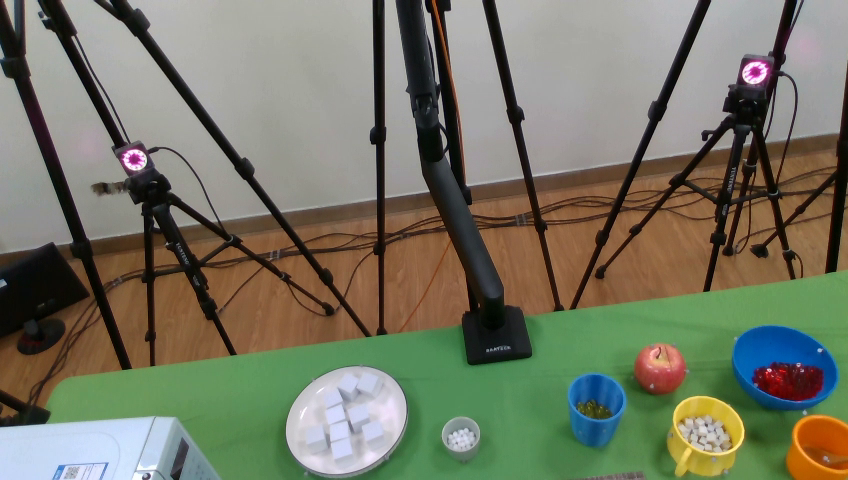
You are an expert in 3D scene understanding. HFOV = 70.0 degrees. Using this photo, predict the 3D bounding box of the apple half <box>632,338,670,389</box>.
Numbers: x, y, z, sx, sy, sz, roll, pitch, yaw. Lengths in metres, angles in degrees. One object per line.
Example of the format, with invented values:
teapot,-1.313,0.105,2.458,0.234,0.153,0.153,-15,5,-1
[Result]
apple half,0.375,0.208,1.012,0.053,0.075,0.080,-6,46,9

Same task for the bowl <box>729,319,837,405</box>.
bowl,0.564,0.209,0.971,0.151,0.077,0.150,-5,43,6

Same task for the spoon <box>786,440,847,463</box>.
spoon,0.588,0.293,0.822,0.041,0.193,0.021,-38,93,-27

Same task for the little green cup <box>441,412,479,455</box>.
little green cup,0.060,0.315,0.979,0.061,0.039,0.061,-6,42,5

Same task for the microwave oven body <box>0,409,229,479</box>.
microwave oven body,-0.468,0.470,0.735,0.326,0.263,0.437,-5,43,4

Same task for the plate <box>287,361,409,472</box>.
plate,-0.126,0.300,1.030,0.207,0.039,0.205,-5,42,5

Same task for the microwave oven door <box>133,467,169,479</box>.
microwave oven door,-0.324,0.480,0.689,0.039,0.246,0.352,-6,42,5

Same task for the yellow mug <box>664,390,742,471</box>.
yellow mug,0.412,0.296,0.913,0.099,0.064,0.131,30,57,35

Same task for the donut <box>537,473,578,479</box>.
donut,0.193,0.384,0.869,0.099,0.049,0.098,-5,44,6

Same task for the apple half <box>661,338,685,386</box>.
apple half,0.414,0.204,1.006,0.033,0.082,0.080,-6,42,9

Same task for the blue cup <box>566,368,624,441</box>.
blue cup,0.264,0.265,0.949,0.092,0.101,0.091,-4,44,5
